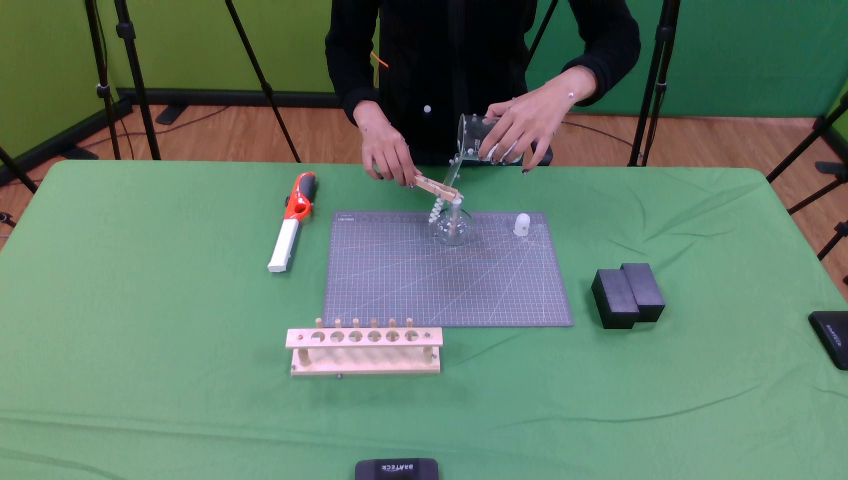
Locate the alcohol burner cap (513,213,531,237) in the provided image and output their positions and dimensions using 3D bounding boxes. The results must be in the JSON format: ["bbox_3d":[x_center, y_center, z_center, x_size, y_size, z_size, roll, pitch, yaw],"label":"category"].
[{"bbox_3d":[0.200,-0.034,1.227,0.034,0.048,0.033,1,45,-1],"label":"alcohol burner cap"}]

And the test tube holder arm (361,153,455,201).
[{"bbox_3d":[-0.029,-0.110,1.049,0.178,0.015,0.013,25,33,9],"label":"test tube holder arm"}]

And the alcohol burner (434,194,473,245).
[{"bbox_3d":[0.059,-0.046,1.179,0.078,0.120,0.077,1,48,-1],"label":"alcohol burner"}]

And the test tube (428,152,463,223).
[{"bbox_3d":[0.035,-0.086,1.040,0.017,0.151,0.017,14,39,-11],"label":"test tube"}]

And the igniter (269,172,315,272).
[{"bbox_3d":[-0.263,-0.045,1.219,0.057,0.025,0.275,-2,45,8],"label":"igniter"}]

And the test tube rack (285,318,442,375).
[{"bbox_3d":[-0.095,0.168,0.986,0.242,0.085,0.066,0,46,-4],"label":"test tube rack"}]

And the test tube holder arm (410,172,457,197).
[{"bbox_3d":[0.014,-0.095,1.048,0.088,0.015,0.010,21,33,3],"label":"test tube holder arm"}]

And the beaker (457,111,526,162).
[{"bbox_3d":[0.106,-0.161,0.967,0.100,0.084,0.073,3,55,-4],"label":"beaker"}]
